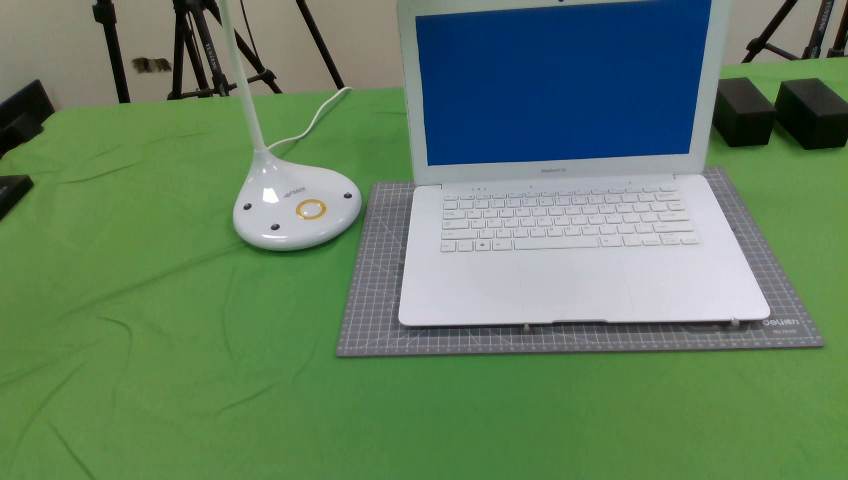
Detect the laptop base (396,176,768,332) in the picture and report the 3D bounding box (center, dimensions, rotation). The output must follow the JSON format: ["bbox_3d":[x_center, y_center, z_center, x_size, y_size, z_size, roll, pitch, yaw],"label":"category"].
[{"bbox_3d":[0.153,0.011,0.666,0.354,0.023,0.233,-2,42,5],"label":"laptop base"}]

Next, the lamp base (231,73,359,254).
[{"bbox_3d":[-0.178,-0.100,0.721,0.177,0.182,0.160,25,48,36],"label":"lamp base"}]

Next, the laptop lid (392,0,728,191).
[{"bbox_3d":[0.149,-0.165,0.694,0.356,0.244,0.013,-4,32,6],"label":"laptop lid"}]
